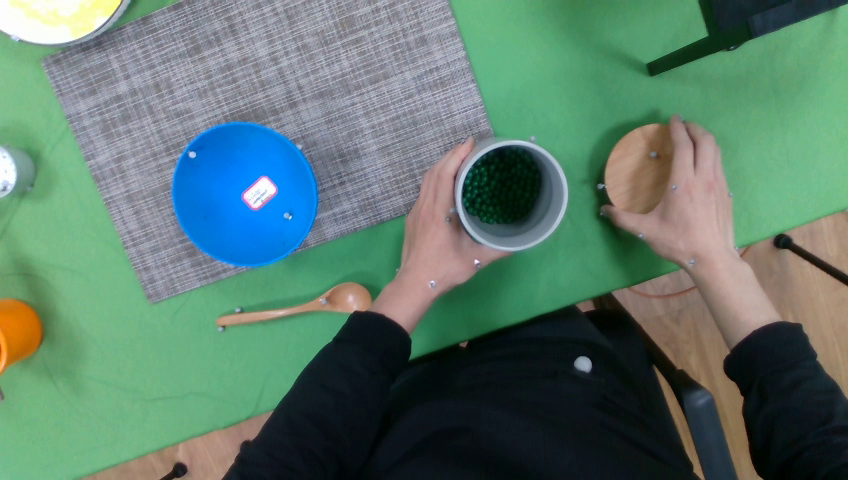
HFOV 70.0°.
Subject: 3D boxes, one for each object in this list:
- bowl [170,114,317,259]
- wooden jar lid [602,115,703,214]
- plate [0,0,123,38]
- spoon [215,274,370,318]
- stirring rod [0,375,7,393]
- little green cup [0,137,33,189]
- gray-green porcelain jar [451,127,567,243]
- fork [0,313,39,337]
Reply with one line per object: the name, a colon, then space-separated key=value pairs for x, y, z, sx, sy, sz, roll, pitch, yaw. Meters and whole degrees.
bowl: x=-0.184 y=-0.059 z=0.656 sx=0.151 sy=0.076 sz=0.152 roll=0 pitch=101 yaw=3
wooden jar lid: x=0.248 y=-0.082 z=0.664 sx=0.108 sy=0.020 sz=0.109 roll=0 pitch=104 yaw=1
plate: x=-0.400 y=-0.320 z=0.640 sx=0.209 sy=0.038 sz=0.209 roll=0 pitch=101 yaw=2
spoon: x=-0.157 y=0.071 z=0.713 sx=0.194 sy=0.021 sz=0.042 roll=-11 pitch=118 yaw=4
stirring rod: x=-0.502 y=0.089 z=0.664 sx=0.014 sy=0.006 sz=0.176 roll=-18 pitch=100 yaw=7
little green cup: x=-0.481 y=-0.088 z=0.688 sx=0.061 sy=0.038 sz=0.062 roll=1 pitch=101 yaw=3
gray-green porcelain jar: x=0.081 y=-0.062 z=0.622 sx=0.106 sy=0.126 sz=0.106 roll=0 pitch=103 yaw=0
fork: x=-0.551 y=0.110 z=0.673 sx=0.208 sy=0.018 sz=0.028 roll=-9 pitch=106 yaw=-40
